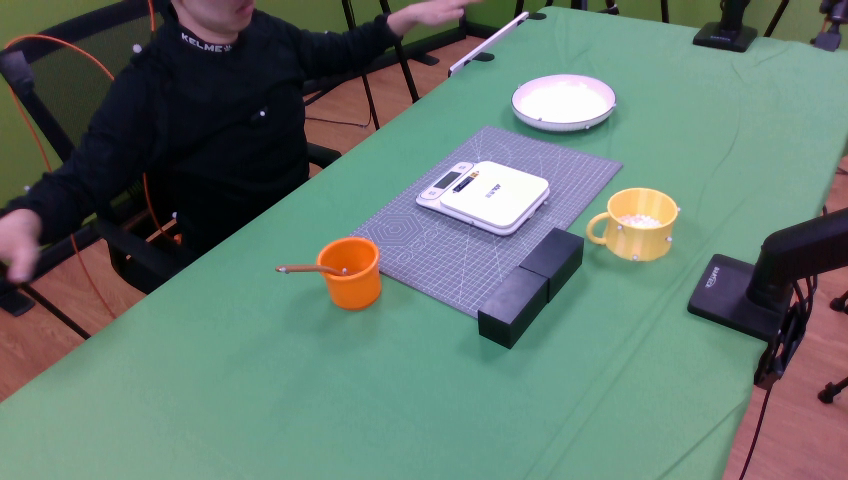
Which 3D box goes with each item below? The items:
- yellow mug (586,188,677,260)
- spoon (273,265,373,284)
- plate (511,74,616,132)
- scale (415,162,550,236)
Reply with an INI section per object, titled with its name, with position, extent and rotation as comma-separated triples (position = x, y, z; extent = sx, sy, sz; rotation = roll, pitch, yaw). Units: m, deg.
[yellow mug]
position = 0.311, -0.022, 0.917
extent = 0.131, 0.064, 0.099
rotation = -8, 40, 0
[spoon]
position = -0.136, 0.045, 0.839
extent = 0.041, 0.195, 0.021
rotation = 18, 91, 33
[plate]
position = 0.283, -0.276, 1.238
extent = 0.209, 0.038, 0.208
rotation = -4, 41, 4
[scale]
position = 0.099, -0.079, 1.035
extent = 0.199, 0.032, 0.149
rotation = 23, 48, 31
